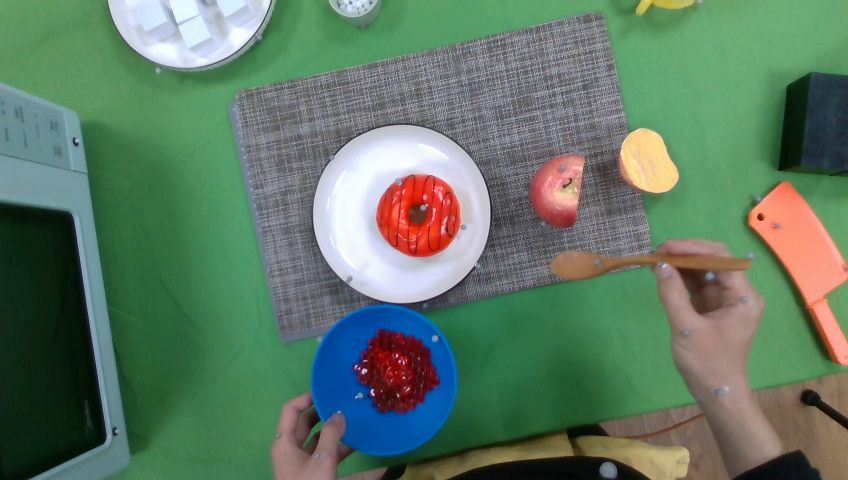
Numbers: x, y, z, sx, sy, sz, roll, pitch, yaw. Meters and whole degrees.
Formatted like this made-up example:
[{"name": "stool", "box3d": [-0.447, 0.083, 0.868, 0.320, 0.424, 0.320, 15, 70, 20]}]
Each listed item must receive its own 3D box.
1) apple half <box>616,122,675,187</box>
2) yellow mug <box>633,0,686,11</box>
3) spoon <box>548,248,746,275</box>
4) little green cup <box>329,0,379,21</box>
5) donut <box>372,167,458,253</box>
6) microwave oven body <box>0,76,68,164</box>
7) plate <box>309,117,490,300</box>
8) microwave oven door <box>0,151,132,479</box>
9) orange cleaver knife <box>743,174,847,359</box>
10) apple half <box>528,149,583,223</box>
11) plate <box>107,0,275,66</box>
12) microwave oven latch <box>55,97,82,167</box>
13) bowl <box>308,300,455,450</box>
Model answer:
[{"name": "apple half", "box3d": [0.241, -0.091, 0.682, 0.082, 0.033, 0.081, 9, 70, -24]}, {"name": "yellow mug", "box3d": [0.274, -0.312, 0.672, 0.100, 0.064, 0.131, 35, 93, 4]}, {"name": "spoon", "box3d": [0.185, 0.017, 0.532, 0.041, 0.193, 0.022, -36, 105, -29]}, {"name": "little green cup", "box3d": [-0.081, -0.290, 0.712, 0.061, 0.038, 0.061, 0, 89, 5]}, {"name": "donut", "box3d": [-0.010, -0.034, 0.689, 0.099, 0.048, 0.099, 0, 91, 5]}, {"name": "microwave oven body", "box3d": [-0.554, 0.070, 0.627, 0.326, 0.260, 0.441, -10, 89, 4]}, {"name": "plate", "box3d": [-0.027, -0.035, 0.701, 0.209, 0.038, 0.209, 0, 90, 5]}, {"name": "microwave oven door", "box3d": [-0.403, 0.087, 0.611, 0.039, 0.244, 0.355, -10, 88, 4]}, {"name": "orange cleaver knife", "box3d": [0.434, 0.029, 0.680, 0.077, 0.012, 0.211, -27, 86, -1]}, {"name": "apple half", "box3d": [0.143, -0.061, 0.672, 0.053, 0.075, 0.081, 7, 93, 8]}, {"name": "plate", "box3d": [-0.274, -0.308, 0.727, 0.207, 0.039, 0.207, 0, 89, 4]}, {"name": "microwave oven latch", "box3d": [-0.430, -0.126, 0.717, 0.030, 0.029, 0.079, -9, 89, 4]}, {"name": "bowl", "box3d": [-0.040, 0.138, 0.647, 0.151, 0.077, 0.151, 0, 87, 4]}]
